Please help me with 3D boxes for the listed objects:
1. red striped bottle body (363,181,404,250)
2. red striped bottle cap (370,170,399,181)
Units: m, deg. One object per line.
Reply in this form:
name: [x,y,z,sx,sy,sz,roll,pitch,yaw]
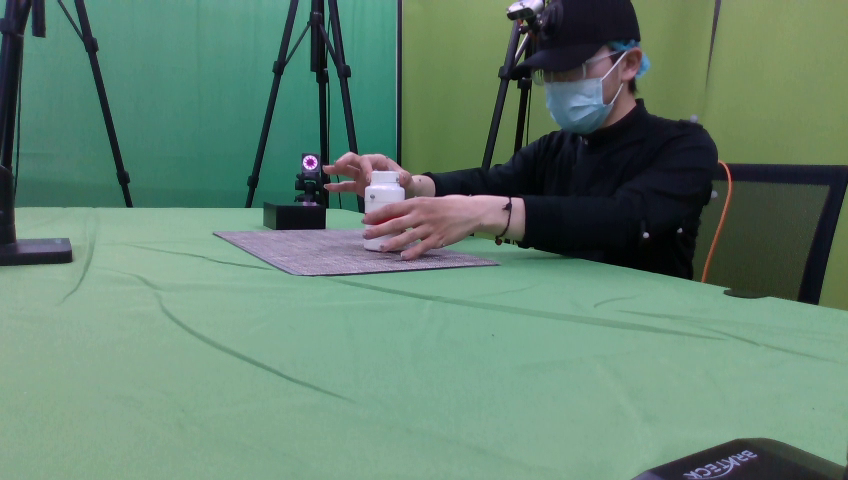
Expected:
red striped bottle body: [-0.063,-0.046,0.942,0.063,0.119,0.063,2,5,0]
red striped bottle cap: [-0.061,-0.100,0.937,0.044,0.017,0.044,-1,4,0]
